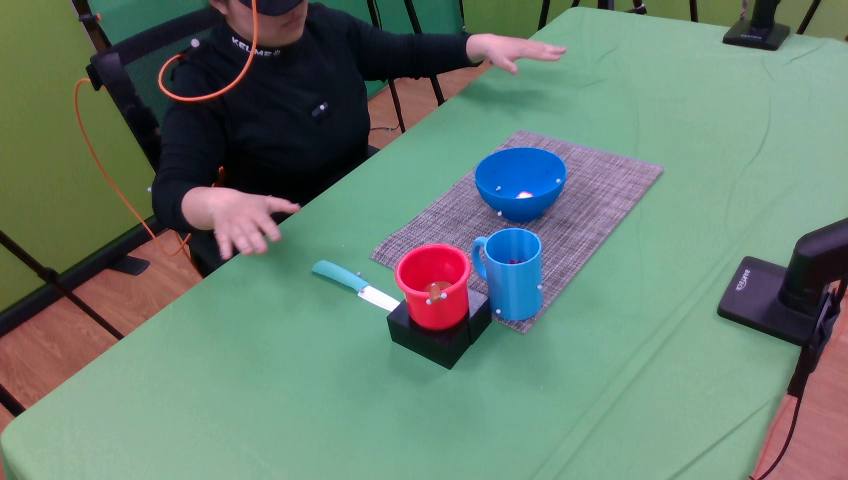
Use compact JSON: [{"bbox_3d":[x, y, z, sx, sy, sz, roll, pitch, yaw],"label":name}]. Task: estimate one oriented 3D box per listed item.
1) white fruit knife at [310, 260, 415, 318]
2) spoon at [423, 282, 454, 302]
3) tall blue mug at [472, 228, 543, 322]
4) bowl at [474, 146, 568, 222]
[{"bbox_3d":[-0.094,0.074,0.920,0.206,0.016,0.027,24,77,30],"label":"white fruit knife"},{"bbox_3d":[0.015,0.062,0.733,0.041,0.021,0.194,-5,-4,3],"label":"spoon"},{"bbox_3d":[0.110,0.046,0.832,0.107,0.108,0.077,6,43,18],"label":"tall blue mug"},{"bbox_3d":[0.161,-0.083,1.001,0.151,0.077,0.150,-5,40,5],"label":"bowl"}]
